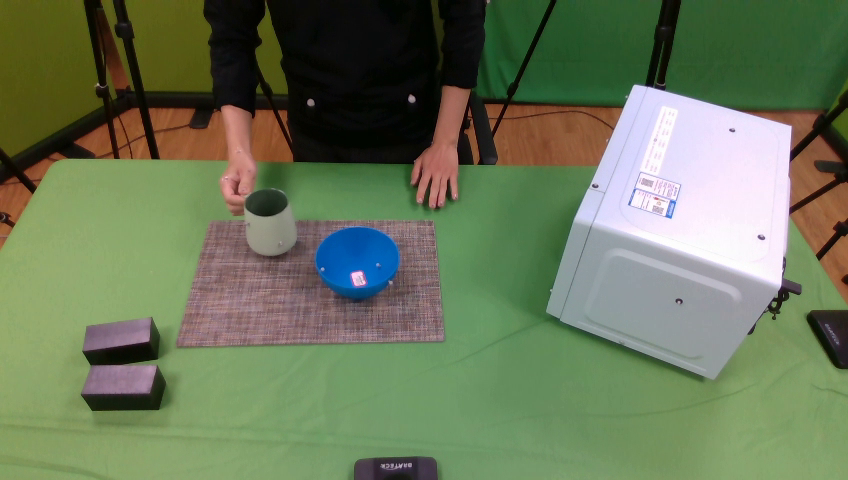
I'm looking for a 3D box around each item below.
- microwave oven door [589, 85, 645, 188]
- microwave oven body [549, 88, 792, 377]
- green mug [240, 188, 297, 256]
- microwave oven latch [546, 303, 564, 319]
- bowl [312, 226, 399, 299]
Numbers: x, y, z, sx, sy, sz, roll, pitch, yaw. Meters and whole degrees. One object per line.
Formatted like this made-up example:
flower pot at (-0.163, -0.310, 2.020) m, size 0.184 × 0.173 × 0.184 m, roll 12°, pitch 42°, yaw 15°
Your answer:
microwave oven door at (0.342, -0.107, 1.149) m, size 0.039 × 0.245 × 0.354 m, roll 20°, pitch 48°, yaw 15°
microwave oven body at (0.456, -0.028, 1.088) m, size 0.325 × 0.261 × 0.440 m, roll 20°, pitch 47°, yaw 16°
green mug at (-0.298, -0.040, 1.126) m, size 0.125 × 0.105 × 0.092 m, roll 34°, pitch 53°, yaw 25°
microwave oven latch at (0.242, 0.102, 1.081) m, size 0.030 × 0.029 × 0.079 m, roll 21°, pitch 48°, yaw 17°
bowl at (-0.120, 0.054, 1.091) m, size 0.151 × 0.077 × 0.150 m, roll 2°, pitch 46°, yaw -2°
